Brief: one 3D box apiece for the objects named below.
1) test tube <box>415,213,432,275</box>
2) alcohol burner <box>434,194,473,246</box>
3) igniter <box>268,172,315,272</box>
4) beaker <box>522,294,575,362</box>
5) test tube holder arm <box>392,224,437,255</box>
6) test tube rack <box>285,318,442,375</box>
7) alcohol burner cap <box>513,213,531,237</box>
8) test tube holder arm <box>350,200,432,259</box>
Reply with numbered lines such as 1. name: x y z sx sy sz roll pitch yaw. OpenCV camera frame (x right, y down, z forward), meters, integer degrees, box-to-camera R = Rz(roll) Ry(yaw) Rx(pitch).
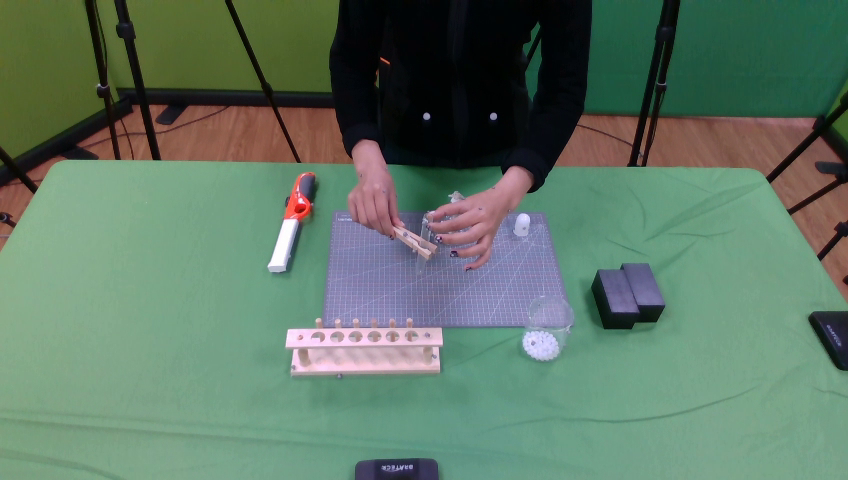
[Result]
1. test tube: -0.002 0.010 0.980 0.017 0.151 0.017 4 51 -4
2. alcohol burner: 0.059 -0.046 1.179 0.078 0.120 0.077 2 48 -2
3. igniter: -0.263 -0.045 1.219 0.057 0.025 0.275 -2 45 8
4. beaker: 0.203 0.152 1.013 0.084 0.101 0.073 -28 53 -26
5. test tube holder arm: -0.018 -0.001 0.995 0.087 0.015 0.010 27 45 19
6. test tube rack: -0.095 0.168 0.986 0.242 0.085 0.066 0 46 -4
7. alcohol burner cap: 0.200 -0.033 1.227 0.034 0.048 0.033 2 46 -1
8. test tube holder arm: -0.058 -0.019 1.008 0.177 0.015 0.013 32 46 23
